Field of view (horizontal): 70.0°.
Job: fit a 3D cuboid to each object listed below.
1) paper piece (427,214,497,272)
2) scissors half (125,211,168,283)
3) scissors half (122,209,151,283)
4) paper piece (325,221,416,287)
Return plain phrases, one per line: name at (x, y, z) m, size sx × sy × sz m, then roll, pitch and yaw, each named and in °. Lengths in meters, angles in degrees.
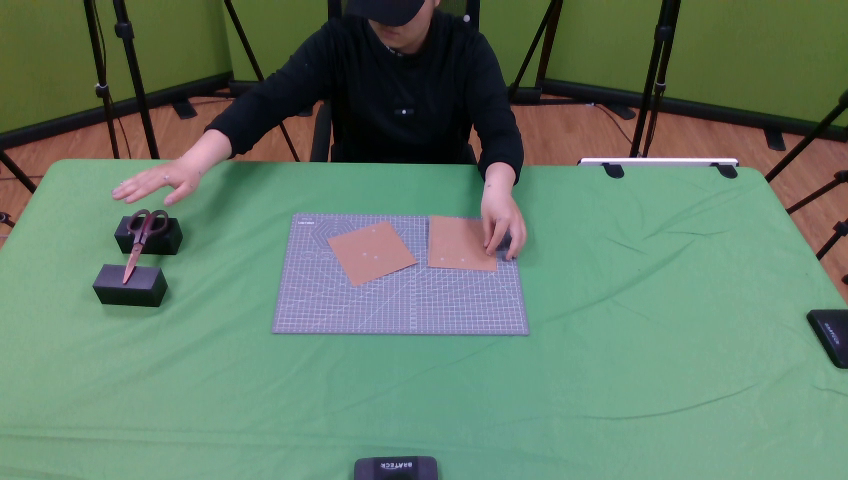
paper piece at (0.074, 0.005, 1.200) m, size 0.138 × 0.009 × 0.135 m, roll 5°, pitch 53°, yaw -2°
scissors half at (-0.501, 0.010, 1.088) m, size 0.040 × 0.013 × 0.174 m, roll 10°, pitch 46°, yaw -3°
scissors half at (-0.520, 0.008, 1.084) m, size 0.040 × 0.013 × 0.174 m, roll 3°, pitch 47°, yaw -17°
paper piece at (-0.105, 0.022, 1.174) m, size 0.135 × 0.004 × 0.135 m, roll -19°, pitch 50°, yaw -21°
